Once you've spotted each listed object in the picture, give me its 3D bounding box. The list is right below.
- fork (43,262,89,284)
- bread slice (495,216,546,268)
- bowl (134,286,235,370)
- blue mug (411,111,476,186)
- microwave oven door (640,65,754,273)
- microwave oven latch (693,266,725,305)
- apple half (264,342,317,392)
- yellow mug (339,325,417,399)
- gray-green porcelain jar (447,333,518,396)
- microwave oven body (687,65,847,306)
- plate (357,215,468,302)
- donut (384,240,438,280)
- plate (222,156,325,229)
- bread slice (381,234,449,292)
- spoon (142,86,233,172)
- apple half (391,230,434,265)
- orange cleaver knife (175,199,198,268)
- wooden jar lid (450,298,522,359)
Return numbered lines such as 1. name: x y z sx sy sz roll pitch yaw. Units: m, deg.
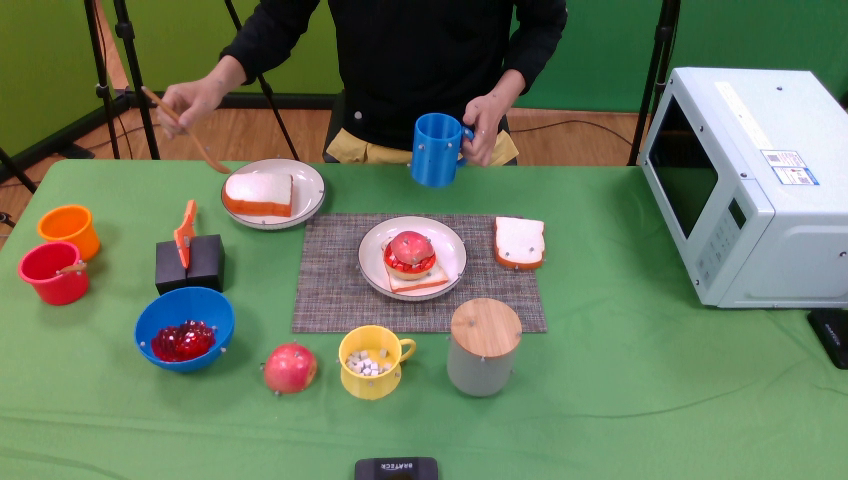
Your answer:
1. fork: -0.599 0.053 1.013 0.207 0.019 0.028 -14 30 45
2. bread slice: 0.194 0.002 1.204 0.105 0.019 0.131 6 46 2
3. bowl: -0.377 0.155 0.981 0.151 0.077 0.150 2 46 -2
4. blue mug: 0.037 -0.164 1.076 0.117 0.106 0.082 -8 48 -14
5. microwave oven door: 0.523 -0.147 1.193 0.039 0.245 0.353 0 47 -3
6. microwave oven latch: 0.523 0.082 1.115 0.030 0.029 0.078 3 46 0
7. apple half: -0.214 0.198 0.970 0.074 0.053 0.080 19 48 10
8. yellow mug: -0.072 0.190 0.978 0.131 0.064 0.099 -17 50 -20
9. gray-green porcelain jar: 0.091 0.178 0.960 0.106 0.127 0.105 2 46 -2
10. microwave oven body: 0.669 -0.111 1.176 0.326 0.261 0.439 0 46 -3
11. plate: -0.022 0.037 1.141 0.208 0.039 0.206 2 46 -2
12. donut: -0.025 0.029 1.109 0.099 0.048 0.098 2 46 -2
13. plate: -0.308 -0.095 1.251 0.209 0.038 0.208 2 46 -2
14. bread slice: -0.026 0.039 1.141 0.107 0.018 0.133 -12 49 -16
15. spoon: -0.394 -0.183 1.017 0.021 0.195 0.041 -37 31 -1
16. apple half: -0.021 0.004 1.085 0.081 0.033 0.081 7 44 -7
17. orange cleaver knife: -0.438 -0.017 1.138 0.012 0.077 0.210 -14 27 -7
18. wooden jar lid: 0.093 0.135 0.914 0.108 0.021 0.107 2 48 -3
